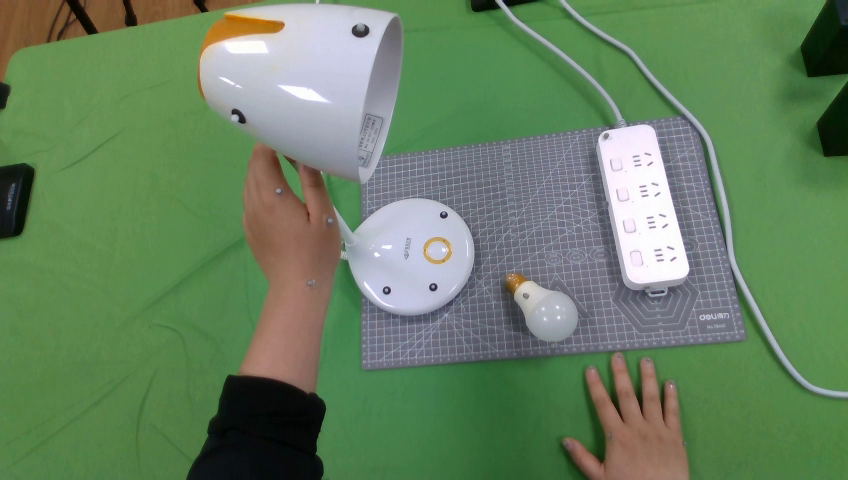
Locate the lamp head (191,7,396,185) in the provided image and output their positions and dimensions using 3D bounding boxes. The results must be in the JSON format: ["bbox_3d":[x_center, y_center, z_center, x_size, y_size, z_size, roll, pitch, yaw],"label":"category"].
[{"bbox_3d":[-0.086,-0.101,0.406,0.123,0.113,0.112,11,72,7],"label":"lamp head"}]

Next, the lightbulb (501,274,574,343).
[{"bbox_3d":[0.129,0.076,0.714,0.059,0.060,0.106,-42,53,-6],"label":"lightbulb"}]

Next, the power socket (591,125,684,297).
[{"bbox_3d":[0.259,-0.043,0.745,0.072,0.033,0.225,-8,68,7],"label":"power socket"}]

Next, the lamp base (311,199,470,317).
[{"bbox_3d":[-0.047,-0.005,0.707,0.179,0.182,0.159,-9,67,10],"label":"lamp base"}]
